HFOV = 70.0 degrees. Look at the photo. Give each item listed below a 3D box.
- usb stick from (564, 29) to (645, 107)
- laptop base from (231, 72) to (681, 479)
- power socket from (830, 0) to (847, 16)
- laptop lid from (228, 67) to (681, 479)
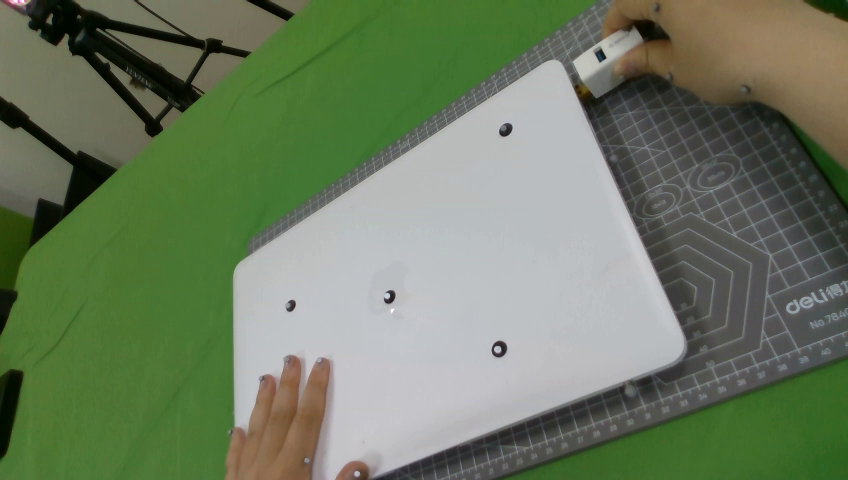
[{"bbox_3d":[0.114,-0.110,0.405,0.059,0.027,0.021,-35,48,30],"label":"usb stick"},{"bbox_3d":[-0.020,0.052,0.451,0.354,0.023,0.233,-30,55,24],"label":"laptop base"},{"bbox_3d":[0.251,-0.167,0.331,0.072,0.033,0.224,-32,51,21],"label":"power socket"},{"bbox_3d":[-0.026,0.049,0.441,0.356,0.013,0.239,-29,55,25],"label":"laptop lid"}]
